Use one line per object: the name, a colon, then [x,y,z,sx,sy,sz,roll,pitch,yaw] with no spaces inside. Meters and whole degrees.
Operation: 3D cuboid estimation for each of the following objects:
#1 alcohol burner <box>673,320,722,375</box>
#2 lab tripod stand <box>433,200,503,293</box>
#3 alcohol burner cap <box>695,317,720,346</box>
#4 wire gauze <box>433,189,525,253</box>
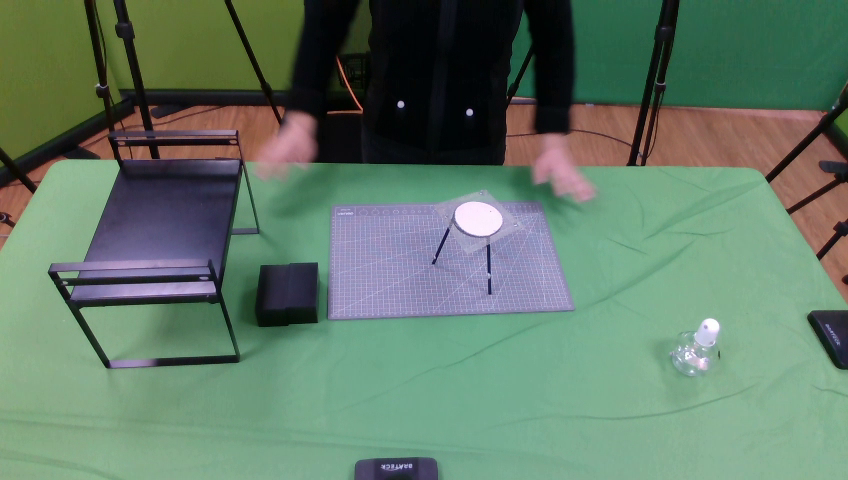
alcohol burner: [0.458,0.170,1.002,0.078,0.120,0.077,1,45,-1]
lab tripod stand: [0.095,0.006,1.115,0.148,0.132,0.147,3,47,-3]
alcohol burner cap: [0.459,0.145,0.975,0.034,0.048,0.033,-3,45,3]
wire gauze: [0.095,-0.039,1.065,0.121,0.011,0.124,-20,52,-23]
